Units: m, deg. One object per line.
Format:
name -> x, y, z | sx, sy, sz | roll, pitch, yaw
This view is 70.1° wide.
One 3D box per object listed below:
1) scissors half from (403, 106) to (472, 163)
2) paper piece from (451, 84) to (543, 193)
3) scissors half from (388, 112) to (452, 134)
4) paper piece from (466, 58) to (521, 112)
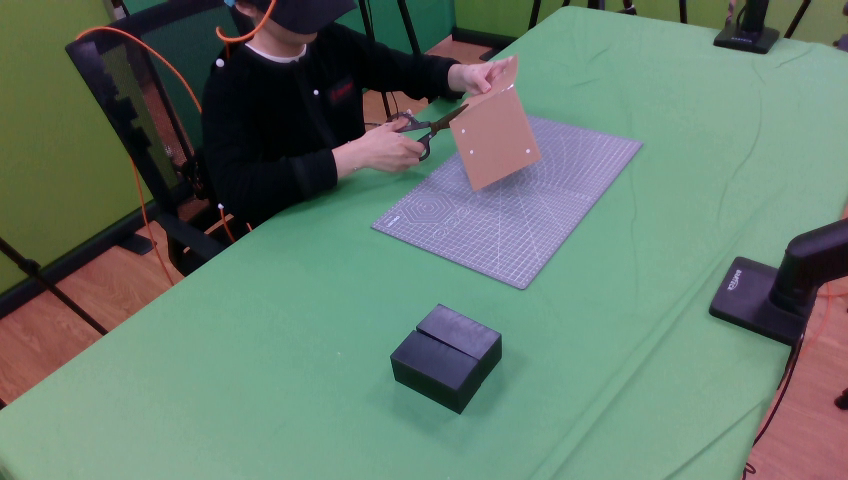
scissors half -> 0.025, -0.190, 1.092 | 0.174, 0.040, 0.013 | -36, 18, 37
paper piece -> 0.119, -0.169, 1.022 | 0.135, 0.138, 0.009 | -26, -10, 35
scissors half -> 0.014, -0.210, 1.082 | 0.174, 0.040, 0.013 | 3, 34, 20
paper piece -> 0.117, -0.266, 1.087 | 0.135, 0.004, 0.135 | -35, 19, 35
